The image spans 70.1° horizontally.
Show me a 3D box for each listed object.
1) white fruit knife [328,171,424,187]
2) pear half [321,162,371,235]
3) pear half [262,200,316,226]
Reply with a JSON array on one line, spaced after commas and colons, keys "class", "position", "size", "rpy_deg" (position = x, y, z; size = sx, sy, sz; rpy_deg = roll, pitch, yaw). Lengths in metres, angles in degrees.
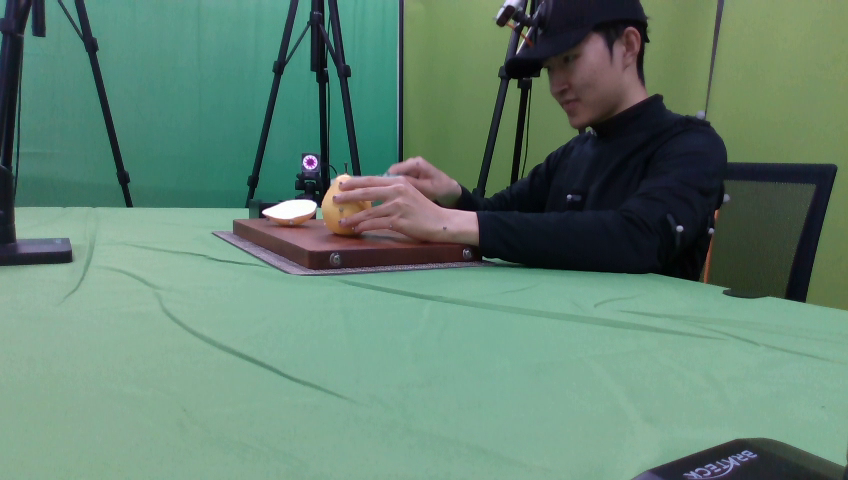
[{"class": "white fruit knife", "position": [-0.074, -0.102, 0.995], "size": [0.016, 0.027, 0.208], "rpy_deg": [-2, 2, 43]}, {"class": "pear half", "position": [-0.110, -0.061, 0.899], "size": [0.055, 0.110, 0.077], "rpy_deg": [8, 16, 40]}, {"class": "pear half", "position": [-0.223, -0.041, 1.008], "size": [0.088, 0.031, 0.070], "rpy_deg": [-9, 22, 2]}]
